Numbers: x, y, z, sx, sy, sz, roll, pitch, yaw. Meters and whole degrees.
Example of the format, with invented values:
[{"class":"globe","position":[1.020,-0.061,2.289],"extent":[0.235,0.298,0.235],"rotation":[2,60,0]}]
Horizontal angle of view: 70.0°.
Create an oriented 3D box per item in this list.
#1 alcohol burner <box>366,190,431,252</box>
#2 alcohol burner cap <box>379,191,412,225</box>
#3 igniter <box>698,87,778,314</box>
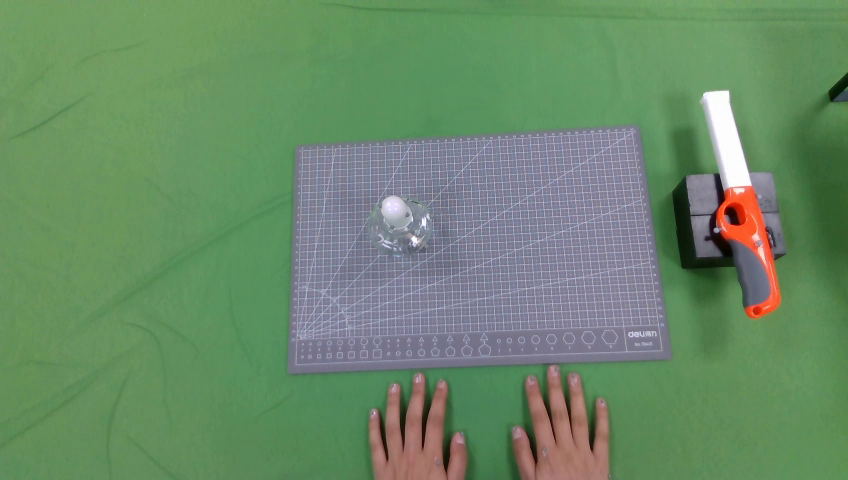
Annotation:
[{"class":"alcohol burner","position":[-0.031,-0.028,0.706],"extent":[0.078,0.120,0.077],"rotation":[0,73,2]},{"class":"alcohol burner cap","position":[-0.033,-0.037,0.672],"extent":[0.034,0.048,0.033],"rotation":[-2,78,8]},{"class":"igniter","position":[0.355,-0.052,0.689],"extent":[0.057,0.025,0.274],"rotation":[-4,71,3]}]
